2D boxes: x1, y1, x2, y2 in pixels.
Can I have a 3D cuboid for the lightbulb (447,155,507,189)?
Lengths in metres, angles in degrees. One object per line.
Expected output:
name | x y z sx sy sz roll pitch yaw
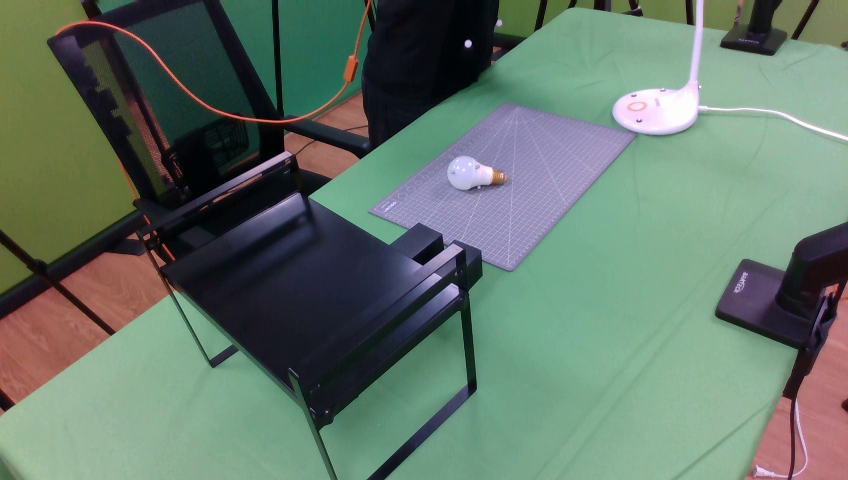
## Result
lightbulb | 0.095 -0.118 1.074 0.108 0.059 0.059 7 40 -7

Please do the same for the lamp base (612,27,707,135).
lamp base | 0.461 -0.315 1.153 0.179 0.181 0.159 -5 41 -1
